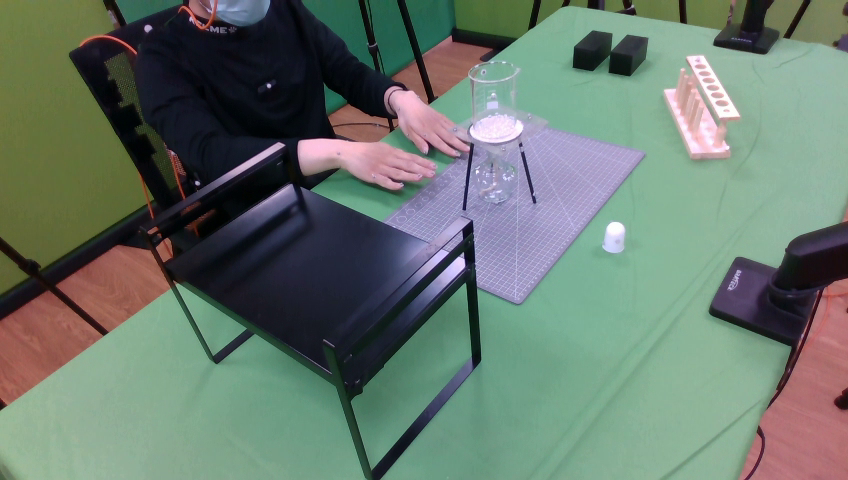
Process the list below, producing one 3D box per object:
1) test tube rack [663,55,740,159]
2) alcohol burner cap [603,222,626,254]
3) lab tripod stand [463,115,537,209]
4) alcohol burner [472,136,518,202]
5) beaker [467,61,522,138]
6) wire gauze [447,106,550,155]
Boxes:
[{"bbox_3d":[0.518,-0.256,1.144,0.066,0.085,0.241,-1,41,8],"label":"test tube rack"},{"bbox_3d":[0.291,-0.006,0.921,0.034,0.048,0.033,-4,40,4],"label":"alcohol burner cap"},{"bbox_3d":[0.120,-0.134,1.018,0.148,0.132,0.147,-5,39,5],"label":"lab tripod stand"},{"bbox_3d":[0.121,-0.124,1.023,0.078,0.119,0.077,-3,41,3],"label":"alcohol burner"},{"bbox_3d":[0.112,-0.217,0.941,0.084,0.101,0.073,-13,39,-7],"label":"beaker"},{"bbox_3d":[0.119,-0.182,0.974,0.122,0.011,0.124,-32,42,-29],"label":"wire gauze"}]
